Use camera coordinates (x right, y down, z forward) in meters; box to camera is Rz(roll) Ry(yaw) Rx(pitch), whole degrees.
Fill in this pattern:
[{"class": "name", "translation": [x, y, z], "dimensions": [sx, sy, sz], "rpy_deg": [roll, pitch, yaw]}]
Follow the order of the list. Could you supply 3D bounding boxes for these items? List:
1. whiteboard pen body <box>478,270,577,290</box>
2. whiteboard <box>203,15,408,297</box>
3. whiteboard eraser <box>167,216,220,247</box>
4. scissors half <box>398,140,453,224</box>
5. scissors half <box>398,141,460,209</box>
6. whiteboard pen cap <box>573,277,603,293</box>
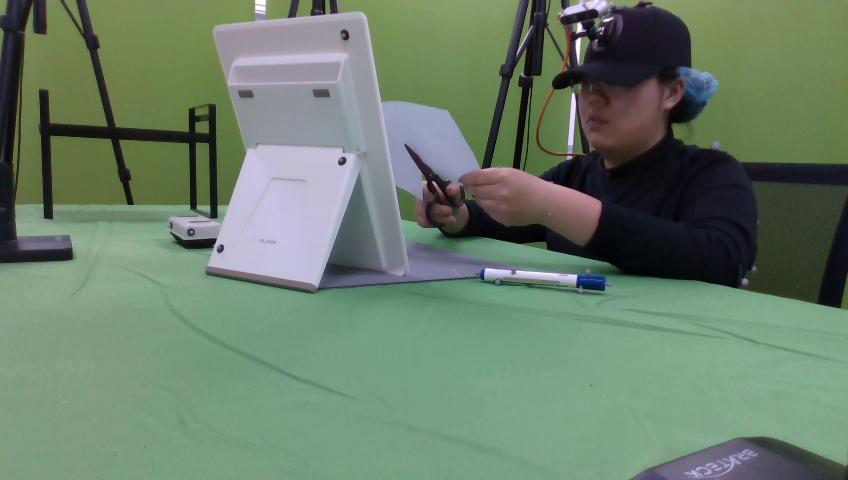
[{"class": "whiteboard pen body", "translation": [0.131, 0.047, 0.705], "dimensions": [0.140, 0.017, 0.017], "rpy_deg": [3, 7, 18]}, {"class": "whiteboard", "translation": [-0.166, -0.072, 0.668], "dimensions": [0.216, 0.305, 0.144], "rpy_deg": [8, 30, 30]}, {"class": "whiteboard eraser", "translation": [-0.350, -0.013, 0.920], "dimensions": [0.056, 0.042, 0.112], "rpy_deg": [0, 7, -35]}, {"class": "scissors half", "translation": [0.003, -0.091, 0.976], "dimensions": [0.013, 0.176, 0.040], "rpy_deg": [-7, 38, 36]}, {"class": "scissors half", "translation": [0.010, -0.107, 0.987], "dimensions": [0.012, 0.040, 0.176], "rpy_deg": [-2, -30, 39]}, {"class": "whiteboard pen cap", "translation": [0.186, 0.051, 0.687], "dimensions": [0.033, 0.018, 0.018], "rpy_deg": [5, 8, 17]}]
